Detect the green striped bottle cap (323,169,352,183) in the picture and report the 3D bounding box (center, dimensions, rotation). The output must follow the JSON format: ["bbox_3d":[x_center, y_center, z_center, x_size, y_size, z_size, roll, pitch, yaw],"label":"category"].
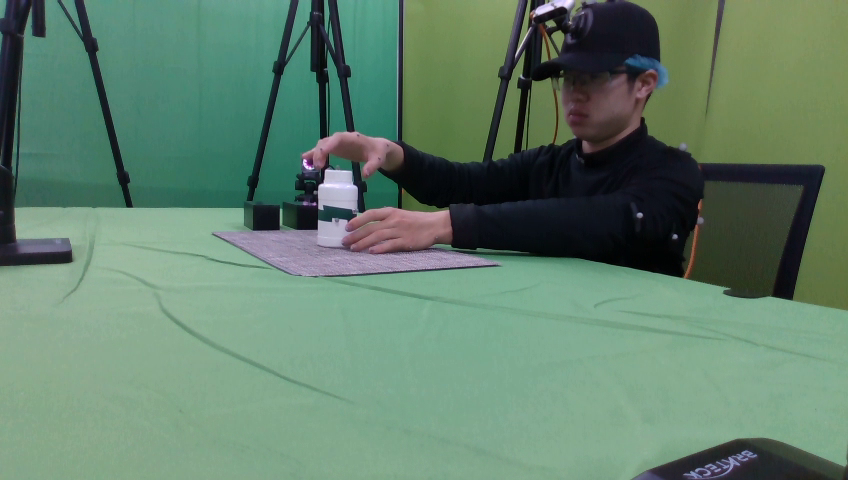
[{"bbox_3d":[-0.136,-0.102,0.958,0.044,0.020,0.044,6,6,0],"label":"green striped bottle cap"}]

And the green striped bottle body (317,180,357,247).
[{"bbox_3d":[-0.139,-0.051,0.964,0.063,0.119,0.063,2,7,0],"label":"green striped bottle body"}]
